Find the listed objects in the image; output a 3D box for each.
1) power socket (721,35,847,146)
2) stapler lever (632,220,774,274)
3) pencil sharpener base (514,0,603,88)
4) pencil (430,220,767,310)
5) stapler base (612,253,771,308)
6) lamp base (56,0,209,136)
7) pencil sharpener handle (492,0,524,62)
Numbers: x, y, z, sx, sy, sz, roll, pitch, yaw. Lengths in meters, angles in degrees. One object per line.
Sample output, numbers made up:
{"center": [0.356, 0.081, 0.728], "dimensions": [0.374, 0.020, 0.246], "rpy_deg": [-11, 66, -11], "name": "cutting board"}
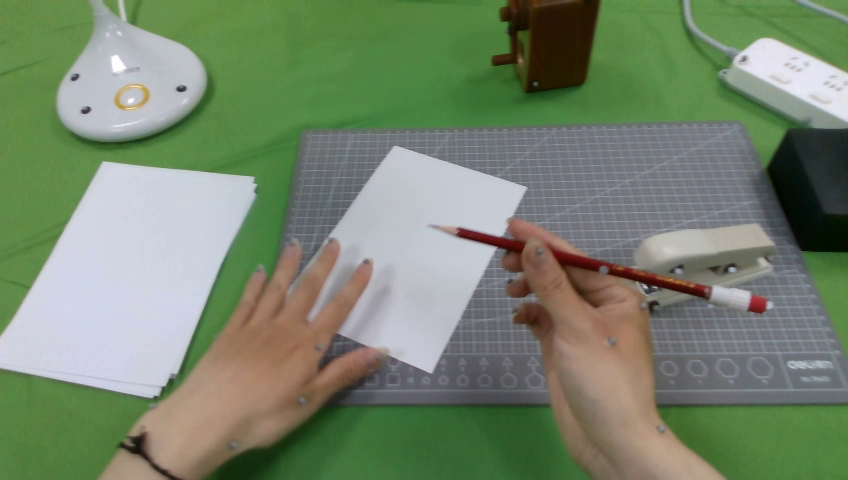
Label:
{"center": [0.412, -0.138, 0.602], "dimensions": [0.072, 0.033, 0.224], "rpy_deg": [-35, 59, -22], "name": "power socket"}
{"center": [0.221, 0.004, 0.476], "dimensions": [0.118, 0.040, 0.026], "rpy_deg": [-14, 55, -9], "name": "stapler lever"}
{"center": [0.133, -0.220, 0.630], "dimensions": [0.077, 0.108, 0.060], "rpy_deg": [-10, 54, -4], "name": "pencil sharpener base"}
{"center": [0.094, 0.012, 0.353], "dimensions": [0.193, 0.012, 0.012], "rpy_deg": [14, 55, 15], "name": "pencil"}
{"center": [0.220, 0.020, 0.495], "dimensions": [0.131, 0.024, 0.041], "rpy_deg": [-14, 55, -9], "name": "stapler base"}
{"center": [-0.328, -0.226, 0.610], "dimensions": [0.161, 0.182, 0.177], "rpy_deg": [-26, 54, -16], "name": "lamp base"}
{"center": [0.083, -0.215, 0.612], "dimensions": [0.031, 0.068, 0.035], "rpy_deg": [-10, 31, -4], "name": "pencil sharpener handle"}
